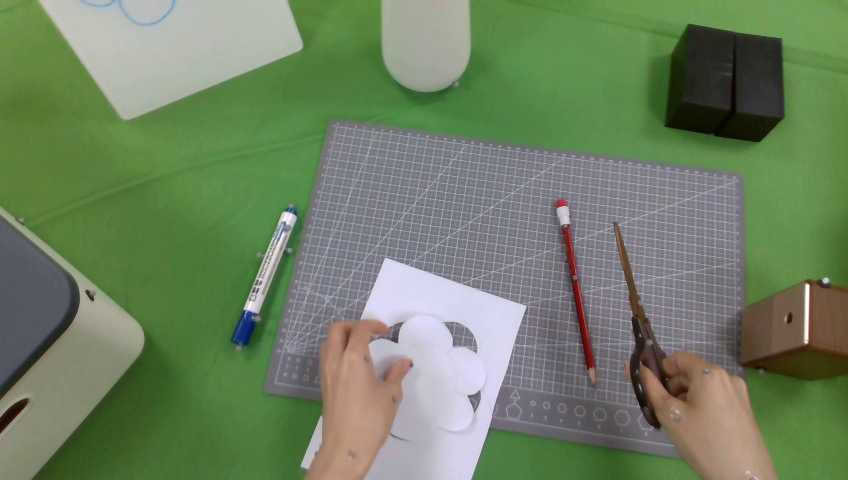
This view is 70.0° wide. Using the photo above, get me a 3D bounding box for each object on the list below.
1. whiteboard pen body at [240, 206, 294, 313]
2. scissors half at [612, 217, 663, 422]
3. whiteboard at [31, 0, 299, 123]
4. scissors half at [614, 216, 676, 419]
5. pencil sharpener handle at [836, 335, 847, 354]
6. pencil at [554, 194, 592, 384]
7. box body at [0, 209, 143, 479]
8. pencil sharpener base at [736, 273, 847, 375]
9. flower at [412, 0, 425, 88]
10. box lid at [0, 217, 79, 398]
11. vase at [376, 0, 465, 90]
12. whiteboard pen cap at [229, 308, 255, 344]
[{"bbox_3d":[-0.160,0.029,0.604,0.017,0.017,0.140,15,69,6],"label":"whiteboard pen body"},{"bbox_3d":[0.171,0.059,0.498,0.013,0.040,0.174,-19,61,33],"label":"scissors half"},{"bbox_3d":[-0.291,-0.313,0.606,0.217,0.308,0.142,-25,53,-8],"label":"whiteboard"},{"bbox_3d":[0.184,0.062,0.513,0.013,0.040,0.174,-21,77,38],"label":"scissors half"},{"bbox_3d":[0.392,0.087,0.526,0.030,0.068,0.036,12,65,1],"label":"pencil sharpener handle"},{"bbox_3d":[0.149,0.045,0.602,0.012,0.012,0.193,-5,73,-1],"label":"pencil"},{"bbox_3d":[-0.467,0.063,0.517,0.362,0.161,0.253,34,74,11],"label":"box body"},{"bbox_3d":[0.342,0.079,0.539,0.077,0.107,0.061,12,70,1],"label":"pencil sharpener base"},{"bbox_3d":[-0.011,-0.282,0.531,0.044,0.365,0.038,1,53,4],"label":"flower"},{"bbox_3d":[-0.469,0.037,0.447,0.370,0.015,0.262,34,74,11],"label":"box lid"},{"bbox_3d":[-0.005,-0.240,0.604,0.098,0.201,0.097,0,69,1],"label":"vase"},{"bbox_3d":[-0.174,0.082,0.584,0.018,0.018,0.033,14,67,5],"label":"whiteboard pen cap"}]
